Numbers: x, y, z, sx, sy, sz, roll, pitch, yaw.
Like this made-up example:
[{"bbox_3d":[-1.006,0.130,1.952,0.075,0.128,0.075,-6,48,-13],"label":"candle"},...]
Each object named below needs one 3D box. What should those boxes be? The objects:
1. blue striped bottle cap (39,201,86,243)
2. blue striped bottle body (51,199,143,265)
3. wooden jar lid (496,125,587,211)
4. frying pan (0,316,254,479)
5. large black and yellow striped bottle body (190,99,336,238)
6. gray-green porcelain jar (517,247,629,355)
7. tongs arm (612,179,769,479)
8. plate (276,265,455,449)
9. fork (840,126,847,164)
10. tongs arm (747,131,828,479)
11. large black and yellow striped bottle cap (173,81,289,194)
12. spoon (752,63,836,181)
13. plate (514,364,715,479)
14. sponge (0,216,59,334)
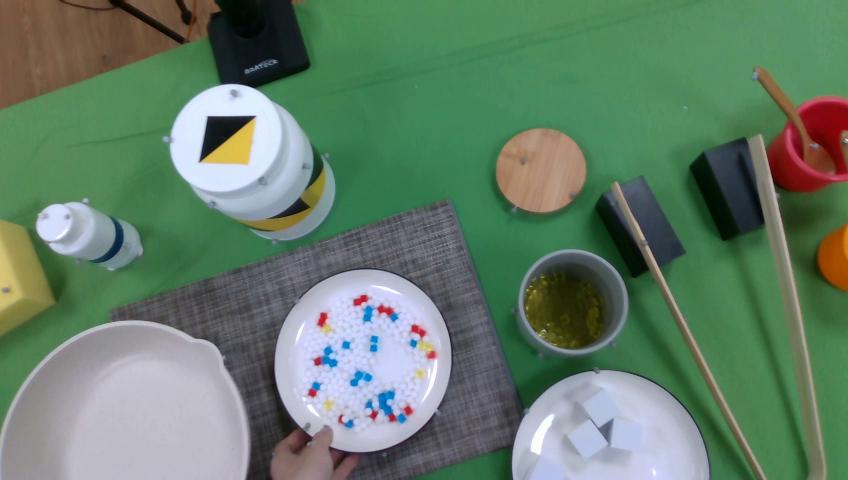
[{"bbox_3d":[-0.405,-0.021,0.678,0.044,0.021,0.044,-2,76,8],"label":"blue striped bottle cap"},{"bbox_3d":[-0.399,-0.010,0.728,0.063,0.121,0.063,-1,78,6],"label":"blue striped bottle body"},{"bbox_3d":[0.143,-0.087,0.740,0.108,0.021,0.108,-1,80,6],"label":"wooden jar lid"},{"bbox_3d":[-0.252,0.297,0.655,0.484,0.103,0.306,40,86,20],"label":"frying pan"},{"bbox_3d":[-0.185,-0.084,0.690,0.130,0.185,0.130,-1,77,6],"label":"large black and yellow striped bottle body"},{"bbox_3d":[0.154,0.071,0.652,0.106,0.127,0.105,-1,78,6],"label":"gray-green porcelain jar"},{"bbox_3d":[0.303,0.102,0.647,0.051,0.026,0.384,-23,87,-1],"label":"tongs arm"},{"bbox_3d":[-0.067,0.133,0.704,0.209,0.038,0.208,-1,79,6],"label":"plate"},{"bbox_3d":[0.455,-0.030,0.629,0.028,0.018,0.209,-29,121,8],"label":"fork"},{"bbox_3d":[0.384,0.075,0.645,0.028,0.028,0.387,-9,88,-3],"label":"tongs arm"},{"bbox_3d":[-0.194,-0.103,0.608,0.115,0.019,0.114,-1,80,5],"label":"large black and yellow striped bottle cap"},{"bbox_3d":[0.404,-0.128,0.657,0.196,0.021,0.041,37,86,-33],"label":"spoon"},{"bbox_3d":[0.202,0.240,0.659,0.207,0.039,0.206,-1,78,6],"label":"plate"},{"bbox_3d":[-0.587,0.075,0.761,0.207,0.061,0.117,-32,77,-2],"label":"sponge"}]
